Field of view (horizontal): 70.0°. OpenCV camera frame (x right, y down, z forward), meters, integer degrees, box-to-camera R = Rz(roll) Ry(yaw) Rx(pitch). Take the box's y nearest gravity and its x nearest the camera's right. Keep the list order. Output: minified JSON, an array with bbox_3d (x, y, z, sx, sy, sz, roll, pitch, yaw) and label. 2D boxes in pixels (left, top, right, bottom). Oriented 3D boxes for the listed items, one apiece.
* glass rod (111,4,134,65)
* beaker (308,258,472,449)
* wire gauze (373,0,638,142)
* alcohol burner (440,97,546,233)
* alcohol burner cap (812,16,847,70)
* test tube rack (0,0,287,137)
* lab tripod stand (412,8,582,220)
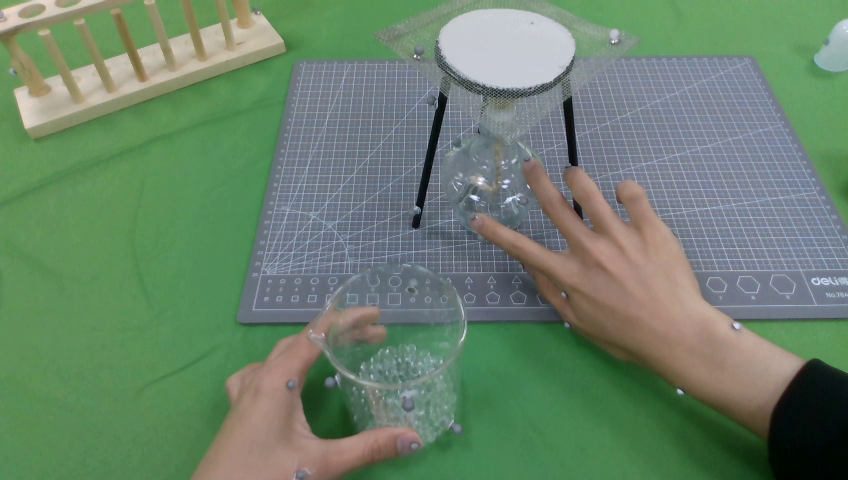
[{"bbox_3d":[-0.270,-0.229,0.505,0.008,0.201,0.008,3,52,-3],"label":"glass rod"},{"bbox_3d":[-0.016,0.070,0.345,0.084,0.101,0.073,-5,52,-2],"label":"beaker"},{"bbox_3d":[0.050,-0.123,0.382,0.121,0.011,0.124,-35,60,-25],"label":"wire gauze"},{"bbox_3d":[0.050,-0.060,0.431,0.078,0.120,0.077,0,53,0],"label":"alcohol burner"},{"bbox_3d":[0.397,-0.190,0.575,0.034,0.048,0.033,0,52,1],"label":"alcohol burner cap"},{"bbox_3d":[-0.259,-0.188,0.557,0.242,0.086,0.066,-26,56,-18],"label":"test tube rack"},{"bbox_3d":[0.056,-0.084,0.437,0.148,0.132,0.147,1,51,-1],"label":"lab tripod stand"}]
